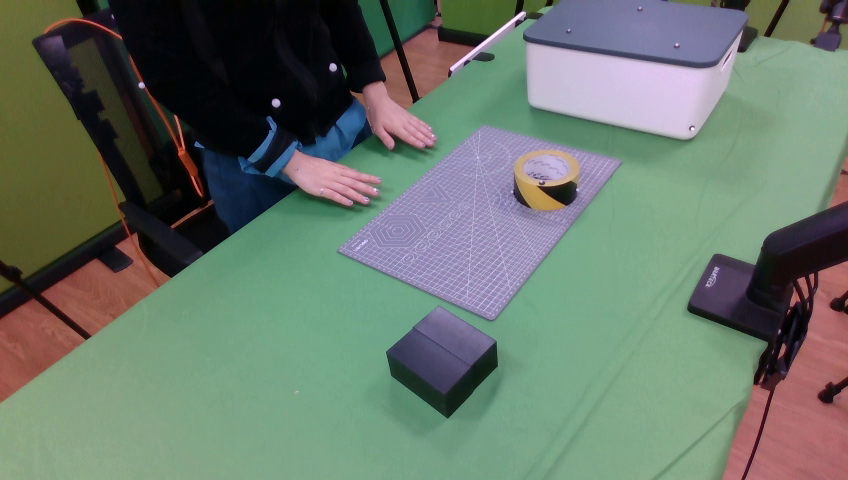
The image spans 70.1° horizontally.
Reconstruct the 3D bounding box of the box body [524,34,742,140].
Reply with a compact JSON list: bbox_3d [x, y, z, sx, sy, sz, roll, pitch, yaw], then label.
[{"bbox_3d":[0.412,-0.354,1.212,0.361,0.161,0.254,20,48,29],"label":"box body"}]

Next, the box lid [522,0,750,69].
[{"bbox_3d":[0.405,-0.409,1.162,0.368,0.015,0.264,20,47,29],"label":"box lid"}]

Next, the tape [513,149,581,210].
[{"bbox_3d":[0.208,-0.104,1.032,0.117,0.053,0.116,-4,40,4],"label":"tape"}]
